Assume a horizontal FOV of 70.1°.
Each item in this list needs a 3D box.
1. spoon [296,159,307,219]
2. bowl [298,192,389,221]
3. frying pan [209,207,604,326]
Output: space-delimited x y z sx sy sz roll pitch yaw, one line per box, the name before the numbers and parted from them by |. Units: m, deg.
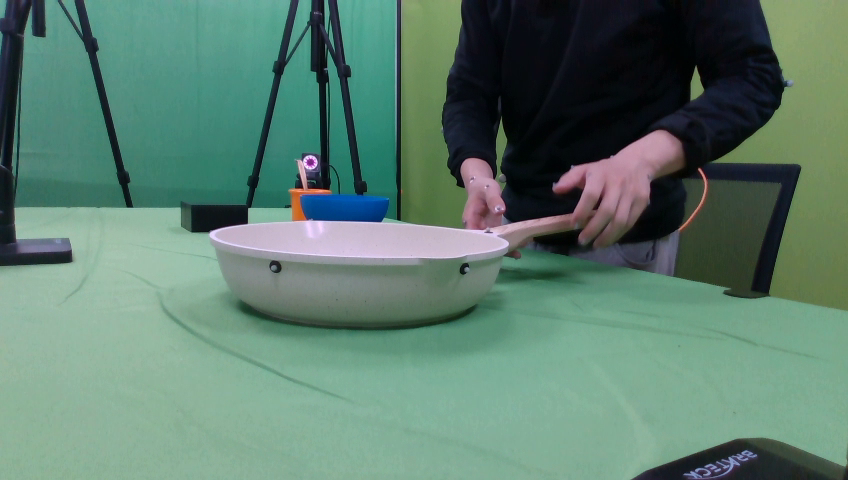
spoon | -0.264 -0.114 1.338 0.042 0.193 0.021 0 -37 -21
bowl | -0.136 -0.037 1.018 0.151 0.077 0.151 3 7 0
frying pan | 0.026 0.005 0.665 0.490 0.102 0.305 -12 14 -30
